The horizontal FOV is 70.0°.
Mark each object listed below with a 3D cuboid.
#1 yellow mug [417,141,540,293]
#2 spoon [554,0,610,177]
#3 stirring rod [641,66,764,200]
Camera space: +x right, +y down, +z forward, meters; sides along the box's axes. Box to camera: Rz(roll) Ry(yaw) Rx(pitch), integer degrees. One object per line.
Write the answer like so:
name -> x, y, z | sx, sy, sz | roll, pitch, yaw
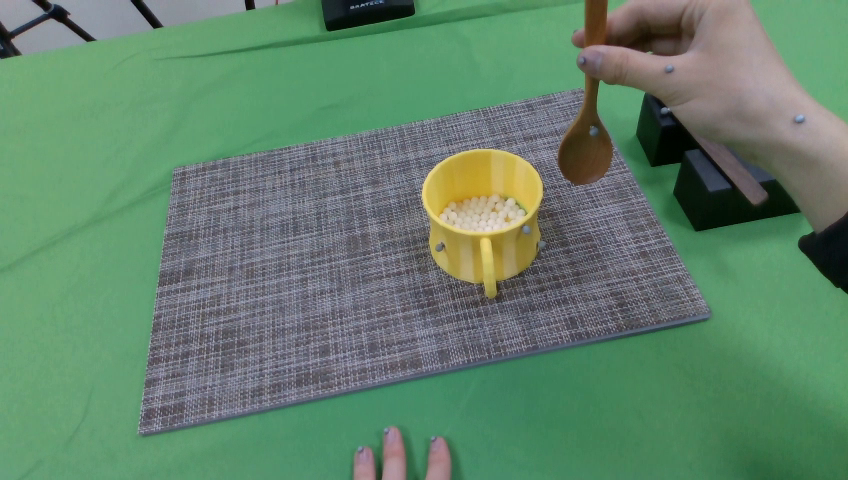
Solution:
yellow mug -> 0.048, -0.015, 0.507 | 0.100, 0.064, 0.129 | -5, 52, 4
spoon -> 0.106, -0.107, 0.396 | 0.041, 0.195, 0.021 | -4, 59, 10
stirring rod -> 0.236, -0.099, 0.525 | 0.014, 0.006, 0.174 | -39, 48, 22
